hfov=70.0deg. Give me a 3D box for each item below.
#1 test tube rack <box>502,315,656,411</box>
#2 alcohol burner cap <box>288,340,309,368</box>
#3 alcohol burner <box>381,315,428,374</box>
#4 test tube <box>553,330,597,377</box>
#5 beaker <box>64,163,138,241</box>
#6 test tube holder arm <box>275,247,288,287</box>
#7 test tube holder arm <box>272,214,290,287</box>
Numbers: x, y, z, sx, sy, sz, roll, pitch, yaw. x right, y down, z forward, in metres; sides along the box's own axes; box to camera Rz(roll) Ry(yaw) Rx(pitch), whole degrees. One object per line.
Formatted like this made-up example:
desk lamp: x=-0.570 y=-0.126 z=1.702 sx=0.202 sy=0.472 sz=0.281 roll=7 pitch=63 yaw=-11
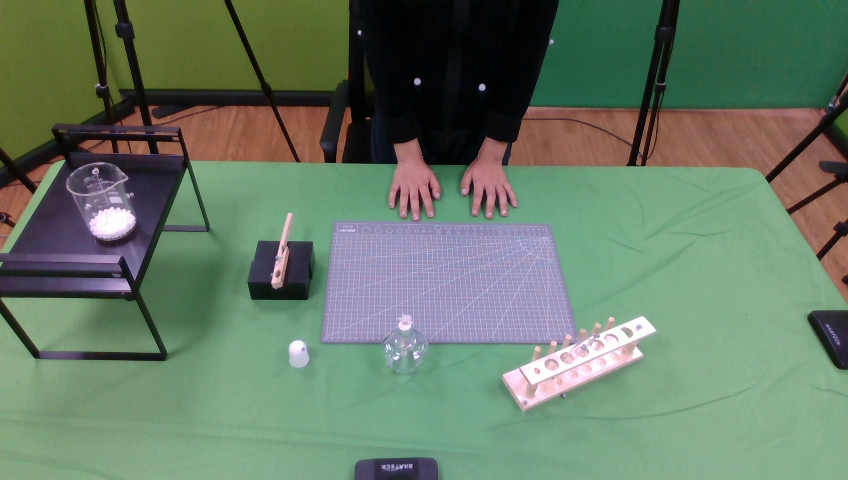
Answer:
test tube rack: x=0.253 y=0.186 z=0.989 sx=0.242 sy=0.085 sz=0.066 roll=-18 pitch=50 yaw=-20
alcohol burner cap: x=-0.207 y=0.183 z=0.991 sx=0.034 sy=0.048 sz=0.033 roll=3 pitch=46 yaw=-3
alcohol burner: x=-0.031 y=0.162 z=0.973 sx=0.078 sy=0.120 sz=0.077 roll=2 pitch=45 yaw=-1
test tube: x=0.226 y=0.176 z=0.924 sx=0.017 sy=0.151 sz=0.017 roll=6 pitch=55 yaw=-9
beaker: x=-0.477 y=-0.055 z=0.910 sx=0.084 sy=0.101 sz=0.073 roll=-9 pitch=48 yaw=-13
test tube holder arm: x=-0.251 y=0.046 z=1.068 sx=0.010 sy=0.015 sz=0.087 roll=-1 pitch=45 yaw=-3
test tube holder arm: x=-0.259 y=0.015 z=1.099 sx=0.013 sy=0.015 sz=0.177 roll=-1 pitch=45 yaw=-3
